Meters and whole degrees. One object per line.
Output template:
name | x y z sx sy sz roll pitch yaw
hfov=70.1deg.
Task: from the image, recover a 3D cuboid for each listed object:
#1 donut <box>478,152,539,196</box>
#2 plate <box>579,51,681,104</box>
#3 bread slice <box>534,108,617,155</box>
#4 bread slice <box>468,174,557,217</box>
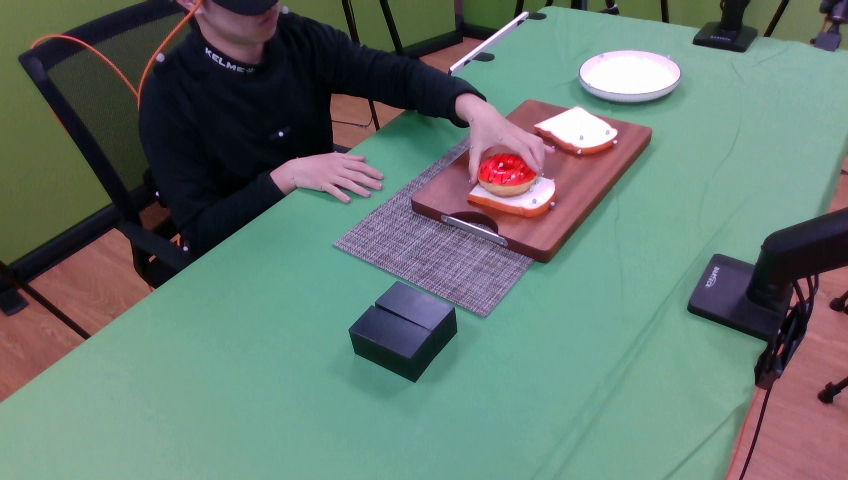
donut | 0.138 -0.109 0.991 0.099 0.048 0.098 -4 38 4
plate | 0.437 -0.343 1.294 0.209 0.038 0.208 -4 40 4
bread slice | 0.289 -0.201 1.120 0.107 0.018 0.133 -27 43 -21
bread slice | 0.154 -0.083 1.004 0.130 0.019 0.105 18 48 29
